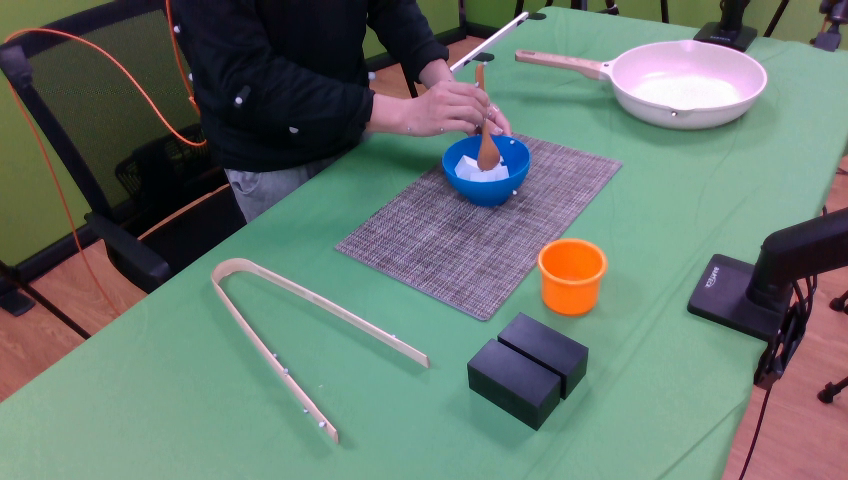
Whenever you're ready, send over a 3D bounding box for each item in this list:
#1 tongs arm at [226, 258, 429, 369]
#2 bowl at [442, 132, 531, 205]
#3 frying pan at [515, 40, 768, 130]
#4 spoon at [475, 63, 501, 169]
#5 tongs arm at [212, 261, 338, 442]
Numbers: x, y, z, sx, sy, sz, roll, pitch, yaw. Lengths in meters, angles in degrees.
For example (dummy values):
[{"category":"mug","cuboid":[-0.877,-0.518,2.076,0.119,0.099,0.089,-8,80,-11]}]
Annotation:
[{"category":"tongs arm","cuboid":[-0.150,0.098,0.873,0.384,0.028,0.028,22,50,30]},{"category":"bowl","cuboid":[0.108,-0.112,1.033,0.151,0.077,0.150,-4,41,4]},{"category":"frying pan","cuboid":[0.423,-0.338,1.236,0.486,0.103,0.307,16,45,13]},{"category":"spoon","cuboid":[0.094,-0.188,0.949,0.042,0.195,0.021,-16,39,-3]},{"category":"tongs arm","cuboid":[-0.208,0.136,0.830,0.051,0.026,0.381,-31,45,-28]}]
